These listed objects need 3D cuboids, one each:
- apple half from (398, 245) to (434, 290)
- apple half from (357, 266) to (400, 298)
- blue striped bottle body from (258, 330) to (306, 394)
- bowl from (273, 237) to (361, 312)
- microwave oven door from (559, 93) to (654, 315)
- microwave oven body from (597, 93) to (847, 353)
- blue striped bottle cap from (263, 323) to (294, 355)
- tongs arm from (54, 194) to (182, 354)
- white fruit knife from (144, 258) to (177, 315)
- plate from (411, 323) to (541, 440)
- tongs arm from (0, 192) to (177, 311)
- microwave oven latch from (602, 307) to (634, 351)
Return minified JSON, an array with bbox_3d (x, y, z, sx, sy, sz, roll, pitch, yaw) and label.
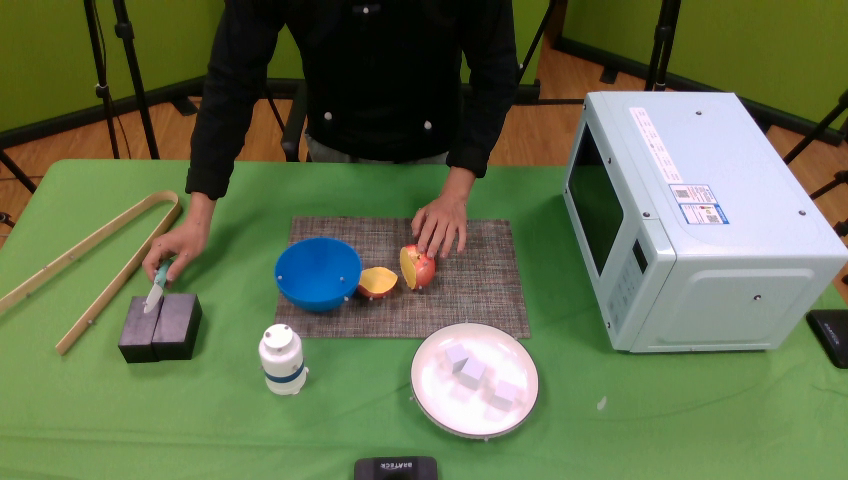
[{"bbox_3d":[-0.010,0.049,1.110,0.053,0.075,0.080,-13,55,-23],"label":"apple half"},{"bbox_3d":[-0.081,0.082,1.098,0.081,0.033,0.081,1,35,-1],"label":"apple half"},{"bbox_3d":[-0.220,0.182,0.937,0.063,0.121,0.062,2,46,-2],"label":"blue striped bottle body"},{"bbox_3d":[-0.186,0.075,1.069,0.151,0.077,0.150,3,45,-3],"label":"bowl"},{"bbox_3d":[0.327,-0.074,1.123,0.039,0.245,0.353,-1,46,-5],"label":"microwave oven door"},{"bbox_3d":[0.475,-0.041,1.109,0.326,0.261,0.438,-1,45,-4],"label":"microwave oven body"},{"bbox_3d":[-0.217,0.146,0.900,0.044,0.021,0.044,1,46,-1],"label":"blue striped bottle cap"},{"bbox_3d":[-0.543,0.048,1.107,0.028,0.028,0.385,11,46,10],"label":"tongs arm"},{"bbox_3d":[-0.449,0.076,1.029,0.016,0.027,0.206,-27,24,-1],"label":"white fruit knife"},{"bbox_3d":[0.082,0.228,0.976,0.208,0.039,0.206,2,45,-2],"label":"plate"},{"bbox_3d":[-0.618,0.019,1.124,0.050,0.026,0.384,24,47,16],"label":"tongs arm"},{"bbox_3d":[0.332,0.153,1.044,0.030,0.029,0.078,-1,45,-4],"label":"microwave oven latch"}]
